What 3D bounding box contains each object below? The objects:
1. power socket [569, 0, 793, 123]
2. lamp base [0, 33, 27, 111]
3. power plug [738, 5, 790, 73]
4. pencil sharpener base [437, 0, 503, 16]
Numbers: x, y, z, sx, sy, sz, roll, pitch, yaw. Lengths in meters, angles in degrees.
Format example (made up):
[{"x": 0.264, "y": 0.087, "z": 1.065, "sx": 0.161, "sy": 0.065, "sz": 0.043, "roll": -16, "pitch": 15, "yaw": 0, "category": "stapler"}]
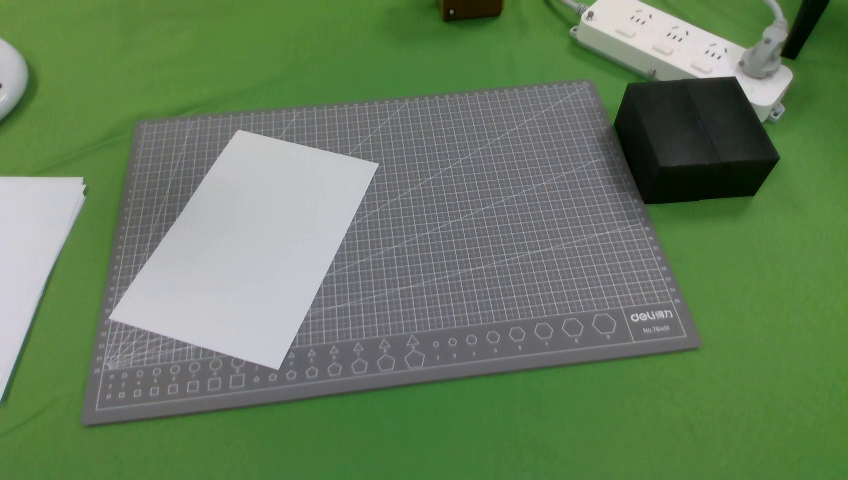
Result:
[{"x": 0.258, "y": -0.191, "z": 0.614, "sx": 0.225, "sy": 0.033, "sz": 0.072, "roll": 35, "pitch": 63, "yaw": 22, "category": "power socket"}, {"x": -0.485, "y": -0.205, "z": 0.536, "sx": 0.160, "sy": 0.182, "sz": 0.177, "roll": -34, "pitch": 60, "yaw": -20, "category": "lamp base"}, {"x": 0.332, "y": -0.183, "z": 0.580, "sx": 0.072, "sy": 0.053, "sz": 0.035, "roll": -35, "pitch": 63, "yaw": -20, "category": "power plug"}, {"x": 0.045, "y": -0.301, "z": 0.643, "sx": 0.077, "sy": 0.108, "sz": 0.060, "roll": -9, "pitch": 57, "yaw": -5, "category": "pencil sharpener base"}]
